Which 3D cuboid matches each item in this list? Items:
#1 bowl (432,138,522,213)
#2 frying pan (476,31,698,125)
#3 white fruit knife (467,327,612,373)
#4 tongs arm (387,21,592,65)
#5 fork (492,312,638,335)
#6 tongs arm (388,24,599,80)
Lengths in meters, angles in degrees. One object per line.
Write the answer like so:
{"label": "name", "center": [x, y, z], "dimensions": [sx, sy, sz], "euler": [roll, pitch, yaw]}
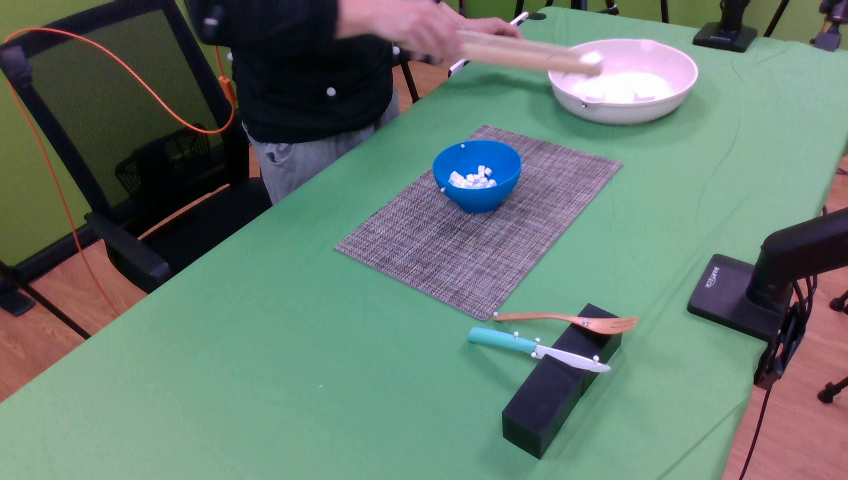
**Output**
{"label": "bowl", "center": [0.091, -0.100, 1.022], "dimensions": [0.151, 0.077, 0.150], "euler": [-4, 41, 4]}
{"label": "frying pan", "center": [0.321, -0.371, 1.290], "dimensions": [0.484, 0.103, 0.307], "euler": [29, 51, 24]}
{"label": "white fruit knife", "center": [0.134, 0.134, 0.742], "dimensions": [0.205, 0.027, 0.016], "euler": [7, 34, 41]}
{"label": "tongs arm", "center": [0.122, -0.326, 1.031], "dimensions": [0.390, 0.028, 0.028], "euler": [3, 44, -22]}
{"label": "fork", "center": [0.173, 0.103, 0.774], "dimensions": [0.206, 0.019, 0.028], "euler": [0, 38, 40]}
{"label": "tongs arm", "center": [0.127, -0.311, 1.015], "dimensions": [0.387, 0.026, 0.050], "euler": [0, 42, -25]}
